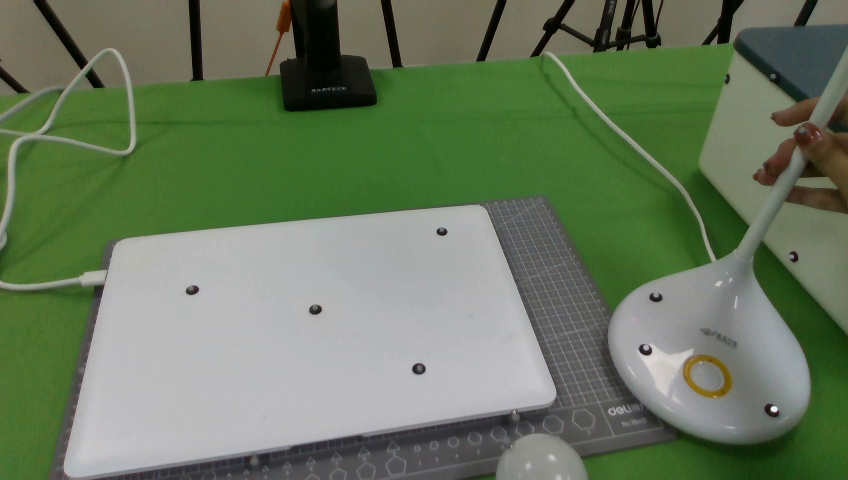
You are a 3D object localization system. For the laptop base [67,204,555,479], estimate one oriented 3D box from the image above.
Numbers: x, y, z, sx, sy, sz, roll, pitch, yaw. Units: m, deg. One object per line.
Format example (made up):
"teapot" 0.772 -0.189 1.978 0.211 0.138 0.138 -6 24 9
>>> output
"laptop base" -0.091 0.067 0.518 0.355 0.023 0.233 -6 48 -9

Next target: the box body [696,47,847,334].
"box body" 0.465 -0.049 0.566 0.255 0.162 0.360 -8 44 -11

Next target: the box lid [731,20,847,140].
"box lid" 0.467 -0.105 0.516 0.264 0.015 0.367 -7 45 -11

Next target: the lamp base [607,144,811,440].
"lamp base" 0.240 0.027 0.457 0.160 0.182 0.178 16 42 12

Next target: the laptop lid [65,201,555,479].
"laptop lid" -0.090 0.060 0.508 0.357 0.013 0.239 -5 46 -8

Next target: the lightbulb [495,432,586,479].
"lightbulb" 0.079 0.178 0.389 0.059 0.060 0.106 -3 59 -6
